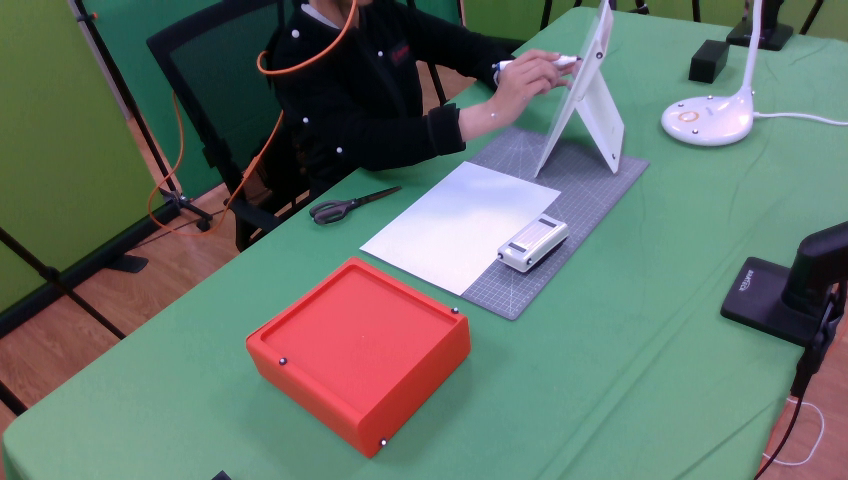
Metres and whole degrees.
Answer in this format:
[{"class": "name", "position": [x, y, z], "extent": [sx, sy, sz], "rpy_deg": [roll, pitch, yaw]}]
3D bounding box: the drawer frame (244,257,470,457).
[{"class": "drawer frame", "position": [-0.084, 0.138, 0.788], "extent": [0.212, 0.083, 0.202], "rpy_deg": [25, 50, 33]}]

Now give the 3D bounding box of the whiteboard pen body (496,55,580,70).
[{"class": "whiteboard pen body", "position": [0.193, -0.301, 1.023], "extent": [0.140, 0.017, 0.017], "rpy_deg": [-1, 41, 13]}]

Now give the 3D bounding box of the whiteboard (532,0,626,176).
[{"class": "whiteboard", "position": [0.320, -0.259, 1.050], "extent": [0.144, 0.306, 0.217], "rpy_deg": [21, 45, 5]}]

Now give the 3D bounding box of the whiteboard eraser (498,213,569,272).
[{"class": "whiteboard eraser", "position": [0.168, 0.006, 0.924], "extent": [0.113, 0.042, 0.055], "rpy_deg": [-36, 48, -28]}]

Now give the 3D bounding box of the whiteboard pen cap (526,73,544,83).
[{"class": "whiteboard pen cap", "position": [0.214, -0.312, 1.164], "extent": [0.033, 0.018, 0.018], "rpy_deg": [-8, 34, -36]}]

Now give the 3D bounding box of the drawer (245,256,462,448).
[{"class": "drawer", "position": [-0.089, 0.136, 0.792], "extent": [0.210, 0.073, 0.195], "rpy_deg": [26, 51, 34]}]

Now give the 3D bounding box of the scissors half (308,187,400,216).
[{"class": "scissors half", "position": [-0.126, -0.075, 1.104], "extent": [0.176, 0.013, 0.039], "rpy_deg": [-15, 30, -10]}]

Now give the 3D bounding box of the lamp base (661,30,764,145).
[{"class": "lamp base", "position": [0.535, -0.287, 1.096], "extent": [0.179, 0.181, 0.159], "rpy_deg": [-10, 40, -4]}]

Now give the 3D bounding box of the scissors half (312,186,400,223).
[{"class": "scissors half", "position": [-0.118, -0.066, 1.088], "extent": [0.176, 0.013, 0.040], "rpy_deg": [-25, 38, -24]}]
